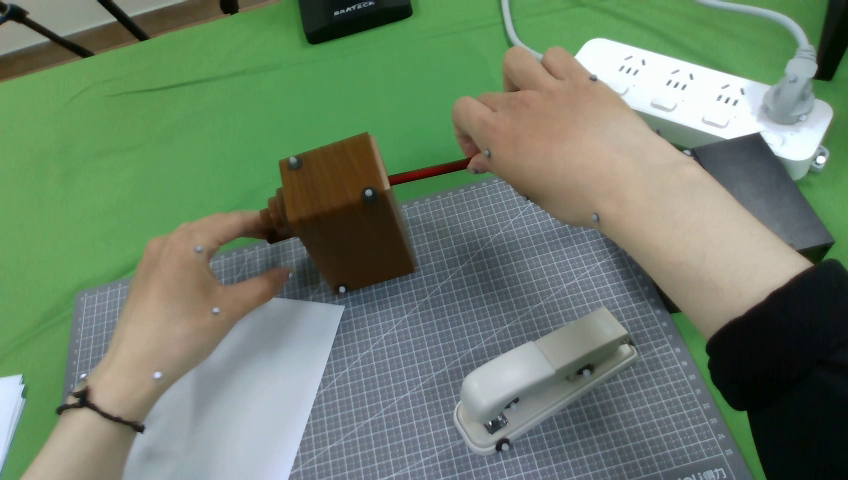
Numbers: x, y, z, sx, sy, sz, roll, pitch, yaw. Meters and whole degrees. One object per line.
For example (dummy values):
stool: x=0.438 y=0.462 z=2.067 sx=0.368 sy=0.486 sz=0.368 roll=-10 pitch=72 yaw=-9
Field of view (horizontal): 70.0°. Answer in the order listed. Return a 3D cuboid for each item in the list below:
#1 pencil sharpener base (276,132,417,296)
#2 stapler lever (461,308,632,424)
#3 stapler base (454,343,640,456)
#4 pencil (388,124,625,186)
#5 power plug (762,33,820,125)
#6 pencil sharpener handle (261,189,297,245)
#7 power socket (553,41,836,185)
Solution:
pencil sharpener base: x=-0.055 y=-0.014 z=0.447 sx=0.077 sy=0.108 sz=0.060 roll=-18 pitch=55 yaw=0
stapler lever: x=0.077 y=0.076 z=0.380 sx=0.118 sy=0.040 sz=0.026 roll=-28 pitch=56 yaw=-10
stapler base: x=0.080 y=0.092 z=0.400 sx=0.130 sy=0.025 sz=0.041 roll=-29 pitch=56 yaw=-10
pencil: x=0.046 y=-0.057 z=0.424 sx=0.194 sy=0.012 sz=0.012 roll=-12 pitch=55 yaw=-2
power plug: x=0.292 y=-0.116 z=0.468 sx=0.072 sy=0.053 sz=0.035 roll=-43 pitch=59 yaw=-17
pencil sharpener handle: x=-0.108 y=-0.011 z=0.438 sx=0.030 sy=0.068 sz=0.036 roll=-18 pitch=77 yaw=0
power socket: x=0.220 y=-0.112 z=0.507 sx=0.225 sy=0.033 sz=0.072 roll=27 pitch=64 yaw=26
